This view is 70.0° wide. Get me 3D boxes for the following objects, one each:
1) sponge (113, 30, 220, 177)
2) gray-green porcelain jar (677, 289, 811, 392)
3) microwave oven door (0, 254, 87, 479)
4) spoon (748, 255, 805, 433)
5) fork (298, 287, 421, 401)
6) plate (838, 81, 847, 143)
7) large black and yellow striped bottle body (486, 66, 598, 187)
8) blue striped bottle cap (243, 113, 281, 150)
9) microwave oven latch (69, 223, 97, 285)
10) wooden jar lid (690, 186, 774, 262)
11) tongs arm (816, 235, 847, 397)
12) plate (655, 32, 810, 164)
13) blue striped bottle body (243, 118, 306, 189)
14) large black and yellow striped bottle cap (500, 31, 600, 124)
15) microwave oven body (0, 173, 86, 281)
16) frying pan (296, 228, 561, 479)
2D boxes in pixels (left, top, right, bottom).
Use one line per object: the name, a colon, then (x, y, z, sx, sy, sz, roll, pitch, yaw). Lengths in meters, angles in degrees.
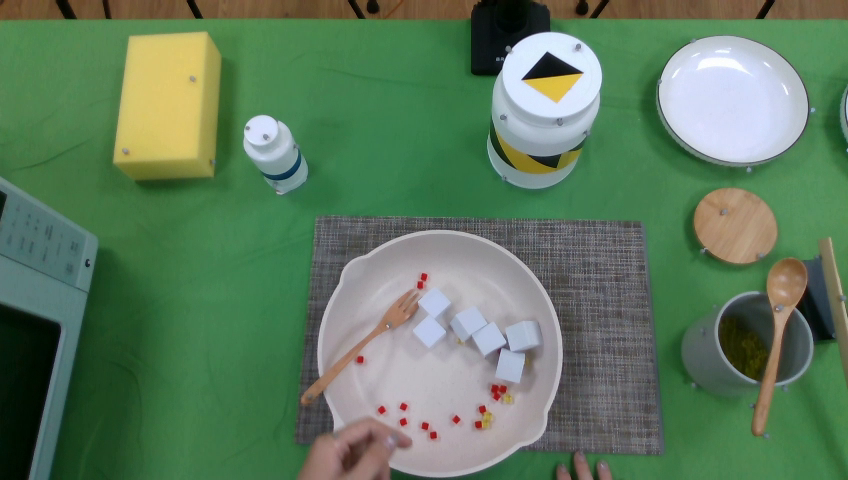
sponge: (-0.368, -0.197, 0.876, 0.118, 0.061, 0.205, -3, 73, 0)
gray-green porcelain jar: (0.366, 0.123, 0.712, 0.106, 0.127, 0.105, -1, 71, 2)
microwave oven door: (-0.474, 0.194, 0.638, 0.039, 0.245, 0.353, 1, 72, 3)
spoon: (0.368, 0.109, 0.642, 0.041, 0.022, 0.193, 18, 77, 4)
fork: (-0.076, 0.125, 0.745, 0.028, 0.019, 0.207, 44, 54, 8)
plate: (0.679, -0.163, 0.839, 0.209, 0.038, 0.208, -1, 72, 2)
large black and yellow striped bottle body: (0.149, -0.162, 0.783, 0.131, 0.185, 0.130, -1, 71, 2)
blue striped bottle cap: (-0.205, -0.138, 0.766, 0.044, 0.021, 0.044, -1, 73, 2)
microwave oven latch: (-0.459, 0.019, 0.802, 0.030, 0.029, 0.078, 4, 73, 3)
wooden jar lid: (0.411, -0.020, 0.813, 0.108, 0.021, 0.107, -1, 73, 2)
tongs arm: (0.515, 0.181, 0.697, 0.051, 0.026, 0.383, -6, 84, -3)
plate: (0.431, -0.199, 0.861, 0.207, 0.039, 0.206, -1, 72, 2)
blue striped bottle body: (-0.202, -0.120, 0.814, 0.063, 0.121, 0.062, -1, 71, 2)
large black and yellow striped bottle cap: (0.146, -0.190, 0.703, 0.115, 0.019, 0.114, -1, 73, 2)
microwave oven body: (-0.618, 0.151, 0.663, 0.326, 0.261, 0.439, 2, 72, 2)
frying pan: (-0.053, 0.199, 0.710, 0.305, 0.103, 0.487, 41, 70, 15)
